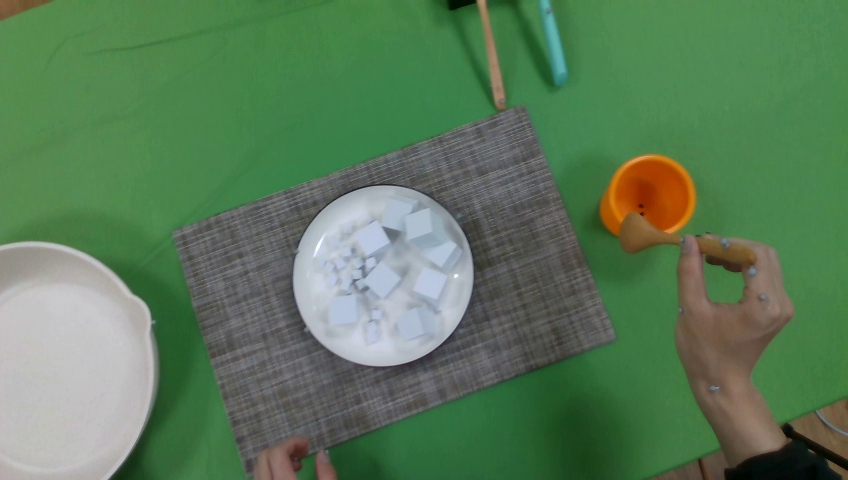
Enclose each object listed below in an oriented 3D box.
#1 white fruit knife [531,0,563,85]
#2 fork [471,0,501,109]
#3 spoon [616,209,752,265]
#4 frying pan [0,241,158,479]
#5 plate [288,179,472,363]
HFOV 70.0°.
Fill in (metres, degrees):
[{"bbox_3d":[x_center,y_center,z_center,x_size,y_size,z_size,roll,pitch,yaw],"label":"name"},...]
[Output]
[{"bbox_3d":[0.131,-0.287,0.714,0.016,0.027,0.208,-18,98,-2],"label":"white fruit knife"},{"bbox_3d":[0.065,-0.258,0.713,0.028,0.018,0.208,-15,101,-7],"label":"fork"},{"bbox_3d":[0.210,-0.001,0.510,0.022,0.192,0.041,4,96,-13],"label":"spoon"},{"bbox_3d":[-0.386,0.236,0.645,0.307,0.103,0.484,-27,75,-2],"label":"frying pan"},{"bbox_3d":[-0.049,0.036,0.695,0.208,0.039,0.207,0,83,1],"label":"plate"}]
